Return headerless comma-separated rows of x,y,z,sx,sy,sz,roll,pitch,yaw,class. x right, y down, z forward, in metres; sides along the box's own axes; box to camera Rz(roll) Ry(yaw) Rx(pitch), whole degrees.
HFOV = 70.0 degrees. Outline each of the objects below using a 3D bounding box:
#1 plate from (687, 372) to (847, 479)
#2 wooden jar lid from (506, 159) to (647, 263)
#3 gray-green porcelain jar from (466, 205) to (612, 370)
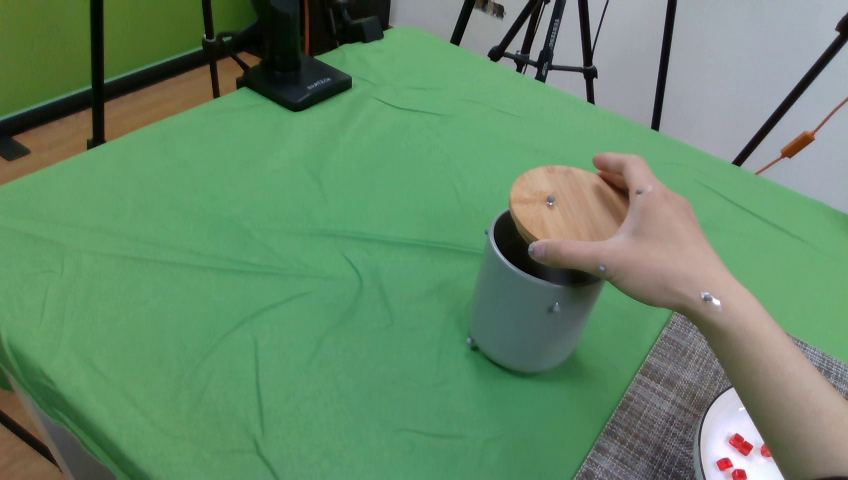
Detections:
0.306,0.200,0.473,0.208,0.039,0.205,6,42,-5,plate
0.119,-0.022,0.478,0.108,0.021,0.107,0,49,0,wooden jar lid
0.096,0.045,0.541,0.106,0.127,0.105,6,42,-5,gray-green porcelain jar
